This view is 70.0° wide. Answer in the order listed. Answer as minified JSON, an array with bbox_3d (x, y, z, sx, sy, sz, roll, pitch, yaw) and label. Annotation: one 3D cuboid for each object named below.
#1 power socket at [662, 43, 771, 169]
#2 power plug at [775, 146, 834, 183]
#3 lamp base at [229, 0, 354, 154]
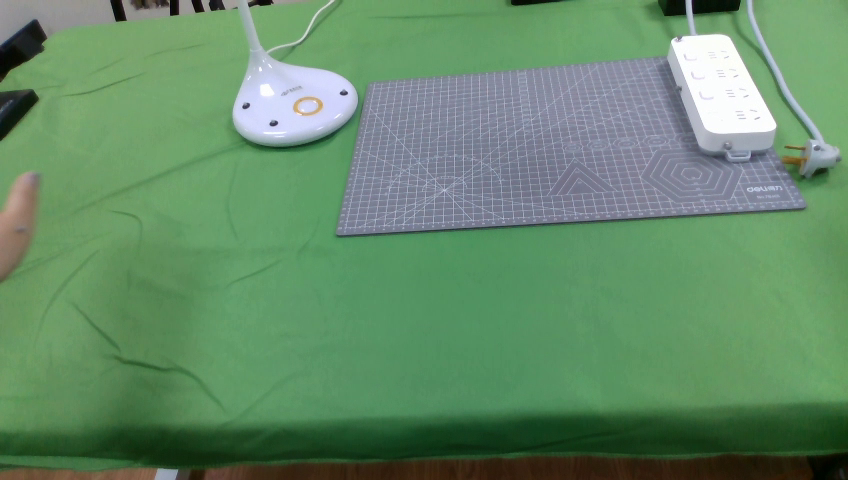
[{"bbox_3d":[0.325,-0.161,0.686,0.072,0.033,0.224,-1,44,9],"label":"power socket"},{"bbox_3d":[0.376,-0.076,0.606,0.052,0.035,0.072,10,12,15],"label":"power plug"},{"bbox_3d":[-0.188,-0.221,0.734,0.177,0.182,0.160,27,54,35],"label":"lamp base"}]
